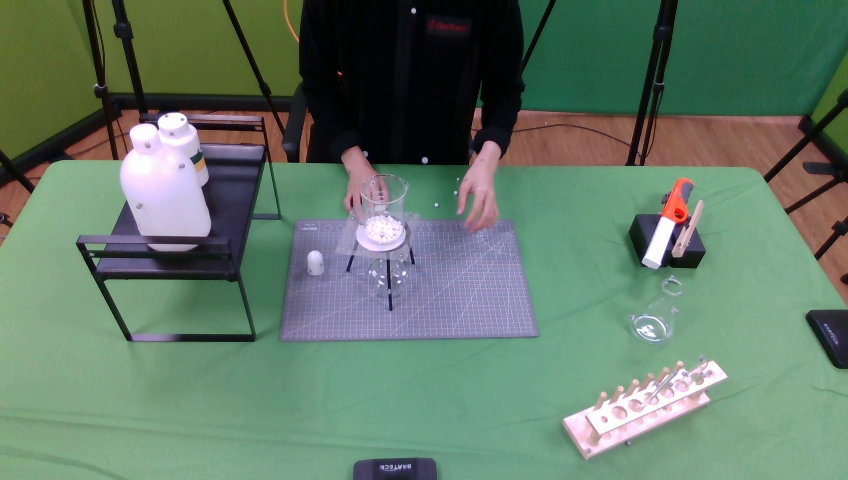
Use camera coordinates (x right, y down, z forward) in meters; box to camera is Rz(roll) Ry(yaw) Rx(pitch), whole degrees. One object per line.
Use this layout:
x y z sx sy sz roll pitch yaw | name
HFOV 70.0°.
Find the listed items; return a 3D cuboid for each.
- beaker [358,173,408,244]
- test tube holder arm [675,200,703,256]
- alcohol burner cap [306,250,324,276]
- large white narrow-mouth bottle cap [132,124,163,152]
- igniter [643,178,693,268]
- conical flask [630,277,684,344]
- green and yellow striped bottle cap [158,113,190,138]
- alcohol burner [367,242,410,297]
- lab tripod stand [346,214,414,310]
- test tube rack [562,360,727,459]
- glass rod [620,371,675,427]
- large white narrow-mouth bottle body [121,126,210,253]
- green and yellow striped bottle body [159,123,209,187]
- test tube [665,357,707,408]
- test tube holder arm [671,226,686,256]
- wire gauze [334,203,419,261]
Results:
-0.066 -0.050 1.000 0.084 0.101 0.073 -18 49 -20 | beaker
0.523 -0.025 1.190 0.013 0.015 0.178 1 36 41 | test tube holder arm
-0.204 0.041 1.125 0.034 0.048 0.033 2 46 -2 | alcohol burner cap
-0.371 -0.137 0.813 0.038 0.024 0.037 3 46 -3 | large white narrow-mouth bottle cap
0.488 -0.042 1.205 0.057 0.025 0.276 30 51 11 | igniter
0.408 0.117 1.045 0.075 0.122 0.075 2 46 -2 | conical flask
-0.393 -0.180 0.951 0.045 0.020 0.045 2 44 -2 | green and yellow striped bottle cap
-0.064 0.047 1.080 0.078 0.120 0.077 1 47 -1 | alcohol burner
-0.075 0.030 1.082 0.148 0.132 0.147 1 47 -1 | lab tripod stand
0.341 0.247 0.940 0.243 0.085 0.066 -16 49 -19 | test tube rack
0.315 0.230 0.863 0.008 0.200 0.008 3 53 -3 | glass rod
-0.378 -0.077 0.875 0.102 0.195 0.101 3 46 -3 | large white narrow-mouth bottle body
-0.395 -0.145 0.989 0.063 0.120 0.063 2 46 -2 | green and yellow striped bottle body
0.387 0.215 0.905 0.017 0.151 0.017 1 52 -1 | test tube
0.494 0.001 1.166 0.010 0.015 0.087 1 36 42 | test tube holder arm
-0.079 -0.013 1.031 0.121 0.011 0.124 8 48 7 | wire gauze
